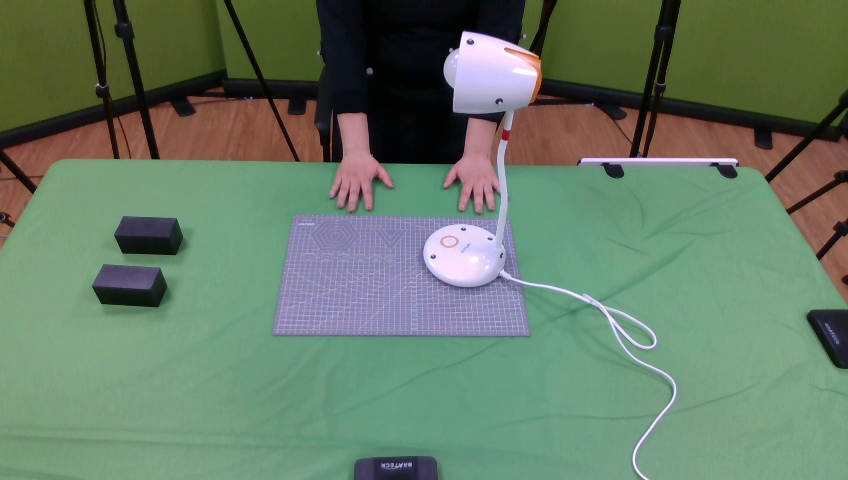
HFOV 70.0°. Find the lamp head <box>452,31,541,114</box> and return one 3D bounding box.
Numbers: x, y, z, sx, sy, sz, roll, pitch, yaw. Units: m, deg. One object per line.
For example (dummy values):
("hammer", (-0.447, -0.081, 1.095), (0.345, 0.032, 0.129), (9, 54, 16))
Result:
("lamp head", (0.102, -0.228, 0.858), (0.123, 0.113, 0.112), (11, 46, 0))

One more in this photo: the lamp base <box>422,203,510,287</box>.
("lamp base", (0.092, -0.021, 1.111), (0.179, 0.181, 0.160), (23, 49, 14))
